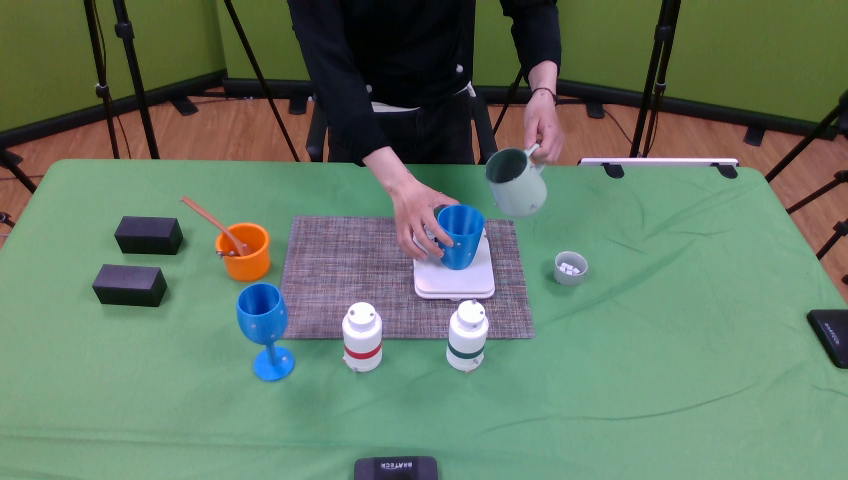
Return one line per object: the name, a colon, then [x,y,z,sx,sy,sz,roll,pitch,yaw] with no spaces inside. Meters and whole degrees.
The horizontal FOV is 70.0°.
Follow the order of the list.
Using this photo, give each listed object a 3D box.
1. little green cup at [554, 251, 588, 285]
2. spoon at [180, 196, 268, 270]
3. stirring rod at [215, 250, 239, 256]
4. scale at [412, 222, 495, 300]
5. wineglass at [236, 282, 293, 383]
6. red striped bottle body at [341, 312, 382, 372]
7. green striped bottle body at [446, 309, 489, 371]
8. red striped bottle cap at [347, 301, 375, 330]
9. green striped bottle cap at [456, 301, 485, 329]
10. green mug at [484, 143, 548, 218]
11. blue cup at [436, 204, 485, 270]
little green cup: [0.277,0.055,1.152,0.061,0.039,0.061,1,45,-1]
spoon: [-0.360,-0.014,1.094,0.021,0.194,0.041,-27,26,31]
stirring rod: [-0.339,0.024,1.059,0.014,0.176,0.006,18,86,-6]
scale: [0.052,0.031,1.158,0.149,0.032,0.199,1,46,-4]
wineglass: [-0.243,0.143,0.934,0.074,0.173,0.073,2,46,-2]
red striped bottle body: [-0.100,0.154,0.972,0.063,0.120,0.062,2,46,-1]
green striped bottle body: [0.070,0.155,0.984,0.063,0.120,0.063,2,46,-2]
red striped bottle cap: [-0.097,0.116,0.934,0.044,0.018,0.044,2,49,-3]
green striped bottle cap: [0.073,0.116,0.943,0.044,0.020,0.044,3,46,-3]
green mug: [0.170,-0.111,1.059,0.092,0.105,0.125,32,79,42]
blue cup: [0.063,0.000,1.099,0.093,0.101,0.092,1,43,-1]
